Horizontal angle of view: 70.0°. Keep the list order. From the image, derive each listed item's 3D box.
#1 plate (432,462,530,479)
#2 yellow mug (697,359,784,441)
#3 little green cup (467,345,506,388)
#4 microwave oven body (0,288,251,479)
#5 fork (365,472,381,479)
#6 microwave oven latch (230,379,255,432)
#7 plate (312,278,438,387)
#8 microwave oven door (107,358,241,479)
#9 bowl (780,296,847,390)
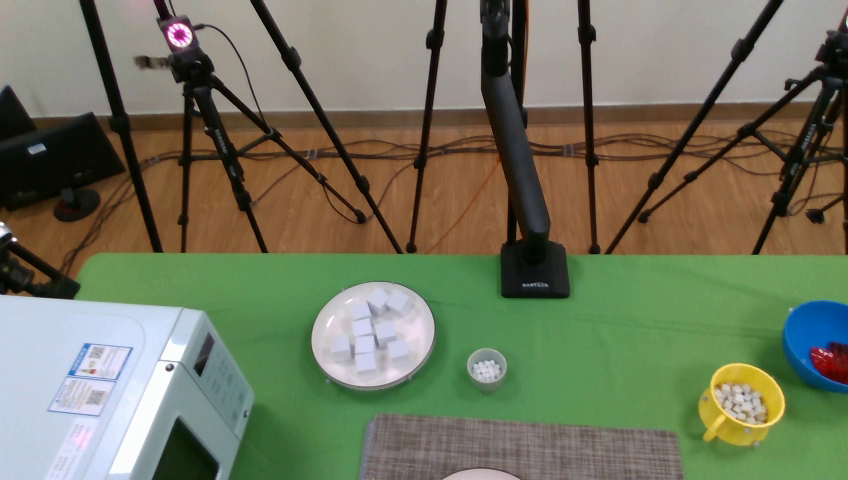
[{"bbox_3d":[0.077,0.397,0.788,0.209,0.038,0.207,-3,50,3],"label":"plate"},{"bbox_3d":[0.445,0.240,0.876,0.131,0.064,0.099,-33,55,-20],"label":"yellow mug"},{"bbox_3d":[0.099,0.202,0.957,0.061,0.039,0.061,-3,49,3],"label":"little green cup"},{"bbox_3d":[-0.459,0.314,0.758,0.325,0.262,0.437,3,51,7],"label":"microwave oven body"},{"bbox_3d":[-0.076,0.412,0.801,0.028,0.019,0.205,4,48,0],"label":"fork"},{"bbox_3d":[-0.282,0.250,0.925,0.030,0.030,0.078,4,51,8],"label":"microwave oven latch"},{"bbox_3d":[-0.080,0.155,1.013,0.207,0.039,0.205,-2,50,3],"label":"plate"},{"bbox_3d":[-0.320,0.350,0.709,0.039,0.246,0.352,3,50,8],"label":"microwave oven door"},{"bbox_3d":[0.611,0.167,0.915,0.151,0.077,0.150,-3,50,4],"label":"bowl"}]
